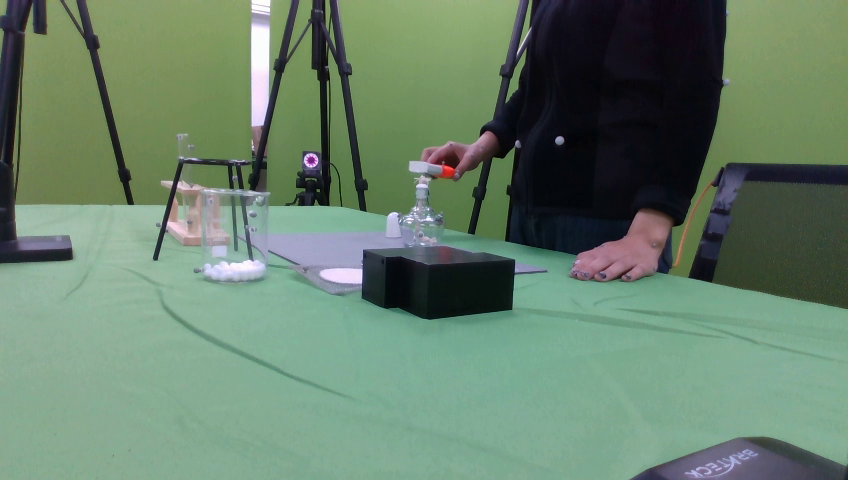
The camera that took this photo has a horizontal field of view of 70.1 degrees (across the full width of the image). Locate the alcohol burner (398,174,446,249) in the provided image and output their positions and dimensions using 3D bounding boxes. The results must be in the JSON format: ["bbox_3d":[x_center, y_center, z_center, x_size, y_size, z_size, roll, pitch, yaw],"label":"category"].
[{"bbox_3d":[-0.003,-0.046,0.973,0.078,0.119,0.078,0,7,0],"label":"alcohol burner"}]

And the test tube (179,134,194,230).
[{"bbox_3d":[-0.366,-0.089,0.938,0.017,0.150,0.017,-1,9,1],"label":"test tube"}]

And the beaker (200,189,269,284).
[{"bbox_3d":[-0.209,-0.006,0.676,0.073,0.100,0.084,7,8,28],"label":"beaker"}]

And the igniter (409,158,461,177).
[{"bbox_3d":[0.024,-0.133,1.120,0.057,0.025,0.277,5,5,14],"label":"igniter"}]

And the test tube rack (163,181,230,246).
[{"bbox_3d":[-0.387,-0.050,1.015,0.067,0.085,0.241,-2,9,-30],"label":"test tube rack"}]

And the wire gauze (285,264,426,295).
[{"bbox_3d":[-0.079,0.039,0.692,0.122,0.011,0.124,-4,11,-37],"label":"wire gauze"}]

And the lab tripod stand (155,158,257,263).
[{"bbox_3d":[-0.275,-0.041,0.797,0.148,0.131,0.148,2,9,0],"label":"lab tripod stand"}]

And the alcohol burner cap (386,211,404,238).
[{"bbox_3d":[-0.053,-0.029,1.107,0.034,0.048,0.034,2,9,0],"label":"alcohol burner cap"}]
